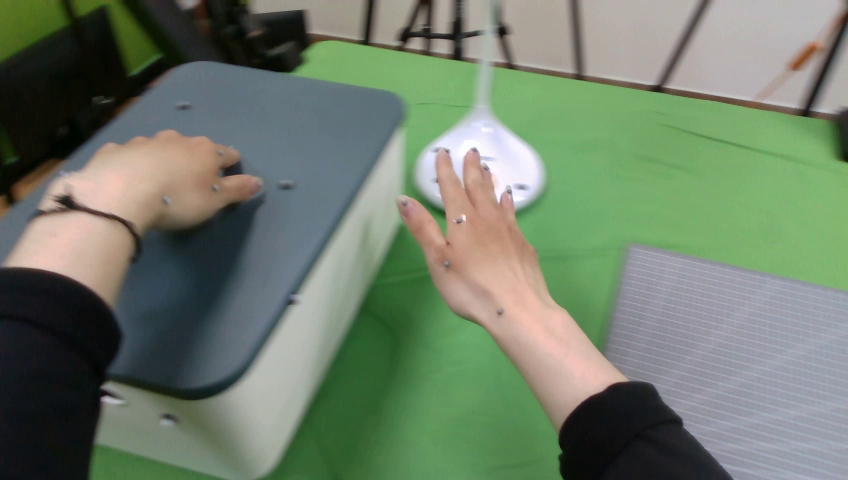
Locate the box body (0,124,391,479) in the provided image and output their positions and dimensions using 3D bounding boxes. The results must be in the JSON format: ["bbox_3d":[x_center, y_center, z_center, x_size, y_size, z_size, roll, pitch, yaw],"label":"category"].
[{"bbox_3d":[-0.196,0.008,0.564,0.253,0.162,0.361,10,45,11],"label":"box body"}]

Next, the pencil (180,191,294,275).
[{"bbox_3d":[-0.188,-0.009,0.599,0.192,0.012,0.012,30,52,32],"label":"pencil"}]

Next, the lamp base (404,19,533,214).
[{"bbox_3d":[0.053,-0.151,0.712,0.161,0.182,0.177,-4,41,-3],"label":"lamp base"}]

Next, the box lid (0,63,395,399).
[{"bbox_3d":[-0.198,-0.044,0.511,0.262,0.015,0.369,10,45,11],"label":"box lid"}]

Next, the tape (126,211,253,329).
[{"bbox_3d":[-0.236,0.028,0.618,0.117,0.053,0.115,-3,54,4],"label":"tape"}]

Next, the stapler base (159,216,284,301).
[{"bbox_3d":[-0.191,0.011,0.574,0.130,0.024,0.041,29,38,16],"label":"stapler base"}]

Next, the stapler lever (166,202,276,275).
[{"bbox_3d":[-0.187,-0.007,0.558,0.117,0.040,0.027,30,39,15],"label":"stapler lever"}]

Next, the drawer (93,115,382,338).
[{"bbox_3d":[-0.166,-0.026,0.596,0.194,0.074,0.210,19,38,3],"label":"drawer"}]
